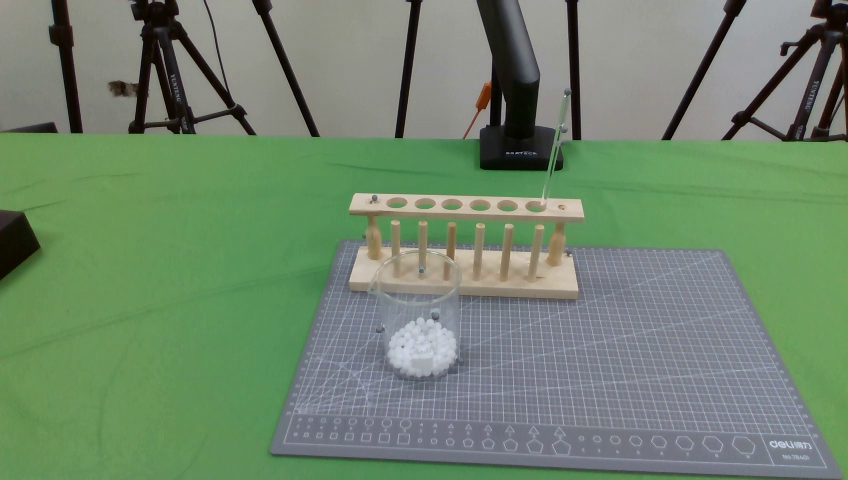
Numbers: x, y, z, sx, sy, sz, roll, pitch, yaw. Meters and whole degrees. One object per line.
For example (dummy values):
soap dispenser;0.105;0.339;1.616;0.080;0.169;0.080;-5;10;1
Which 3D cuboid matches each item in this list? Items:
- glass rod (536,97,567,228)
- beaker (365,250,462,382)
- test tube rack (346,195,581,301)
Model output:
glass rod;0.123;-0.050;0.609;0.008;0.201;0.008;2;38;-1
beaker;-0.008;0.072;0.544;0.084;0.101;0.073;-10;36;-11
test tube rack;0.040;0.008;0.645;0.242;0.086;0.066;2;36;4
